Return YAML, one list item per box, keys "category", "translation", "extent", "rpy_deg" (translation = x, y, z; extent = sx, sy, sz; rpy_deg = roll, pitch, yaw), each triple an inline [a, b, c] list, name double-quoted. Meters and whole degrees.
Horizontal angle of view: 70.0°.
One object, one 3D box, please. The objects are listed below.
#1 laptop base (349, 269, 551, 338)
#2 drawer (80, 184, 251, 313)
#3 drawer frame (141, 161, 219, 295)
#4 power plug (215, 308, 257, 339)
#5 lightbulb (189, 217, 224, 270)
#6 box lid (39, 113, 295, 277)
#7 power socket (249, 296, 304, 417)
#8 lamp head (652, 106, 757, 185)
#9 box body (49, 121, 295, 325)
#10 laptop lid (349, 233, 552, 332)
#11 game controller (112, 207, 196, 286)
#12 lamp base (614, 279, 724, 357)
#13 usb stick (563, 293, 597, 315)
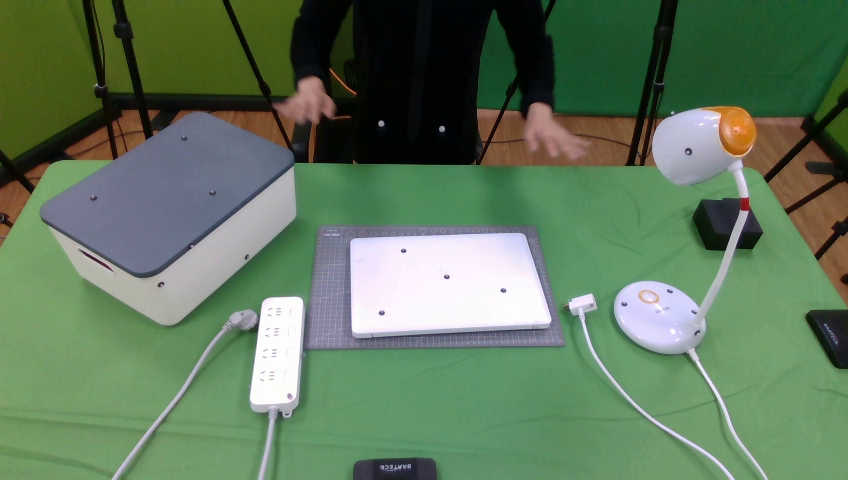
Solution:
- category: "laptop base"
  translation: [0.039, 0.080, 1.125]
  extent: [0.355, 0.023, 0.234]
  rpy_deg: [-2, 43, -6]
- category: "drawer"
  translation: [-0.456, 0.009, 1.089]
  extent: [0.194, 0.073, 0.211]
  rpy_deg: [26, 44, 16]
- category: "drawer frame"
  translation: [-0.435, -0.030, 1.068]
  extent: [0.083, 0.214, 0.201]
  rpy_deg: [-11, 12, -31]
- category: "power plug"
  translation: [-0.317, 0.143, 1.024]
  extent: [0.072, 0.053, 0.035]
  rpy_deg: [-32, 58, -9]
- category: "lightbulb"
  translation: [-0.406, 0.007, 1.114]
  extent: [0.059, 0.060, 0.107]
  rpy_deg: [8, 59, 3]
- category: "box lid"
  translation: [-0.435, -0.096, 1.056]
  extent: [0.262, 0.015, 0.370]
  rpy_deg: [25, 48, 18]
- category: "power socket"
  translation: [-0.239, 0.182, 0.996]
  extent: [0.072, 0.033, 0.225]
  rpy_deg: [-2, 47, -5]
- category: "lamp head"
  translation: [0.410, -0.139, 0.869]
  extent: [0.113, 0.122, 0.112]
  rpy_deg: [0, 89, -19]
- category: "box body"
  translation: [-0.437, -0.046, 1.110]
  extent: [0.253, 0.161, 0.363]
  rpy_deg: [24, 49, 19]
- category: "laptop lid"
  translation: [0.040, 0.070, 1.119]
  extent: [0.357, 0.013, 0.240]
  rpy_deg: [-1, 44, -5]
- category: "game controller"
  translation: [-0.465, 0.003, 1.042]
  extent: [0.097, 0.052, 0.154]
  rpy_deg: [7, 47, 0]
- category: "lamp base"
  translation: [0.436, 0.090, 1.034]
  extent: [0.161, 0.181, 0.178]
  rpy_deg: [-23, 55, -23]
- category: "usb stick"
  translation: [0.280, 0.118, 1.093]
  extent: [0.059, 0.021, 0.027]
  rpy_deg: [-18, 35, 25]
